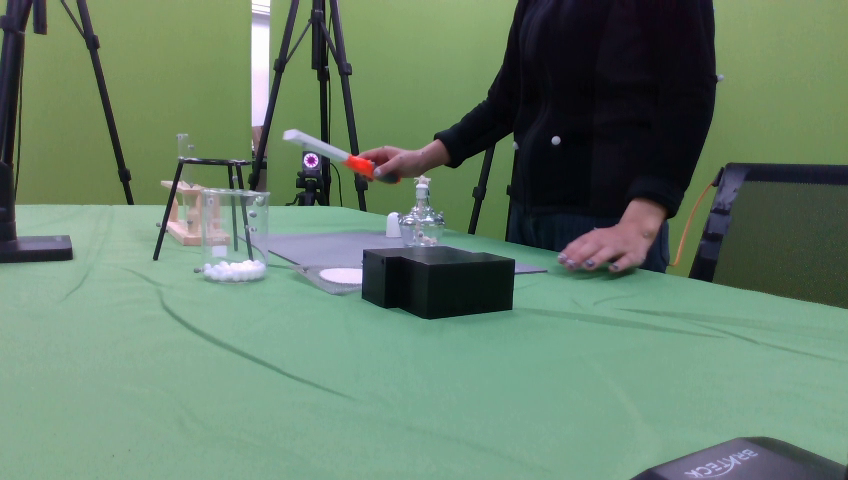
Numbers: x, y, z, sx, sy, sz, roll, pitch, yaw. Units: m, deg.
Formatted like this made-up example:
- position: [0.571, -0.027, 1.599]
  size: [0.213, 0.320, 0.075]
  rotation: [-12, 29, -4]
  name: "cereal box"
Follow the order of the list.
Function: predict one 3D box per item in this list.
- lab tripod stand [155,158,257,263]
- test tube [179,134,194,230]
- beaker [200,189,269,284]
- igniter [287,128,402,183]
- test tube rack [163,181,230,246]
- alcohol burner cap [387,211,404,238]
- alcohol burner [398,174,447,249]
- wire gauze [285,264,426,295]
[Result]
- position: [-0.275, -0.041, 0.797]
  size: [0.148, 0.131, 0.148]
  rotation: [2, 9, 0]
  name: "lab tripod stand"
- position: [-0.366, -0.089, 0.938]
  size: [0.017, 0.150, 0.017]
  rotation: [-1, 9, 1]
  name: "test tube"
- position: [-0.209, -0.006, 0.676]
  size: [0.073, 0.100, 0.084]
  rotation: [7, 8, 28]
  name: "beaker"
- position: [-0.143, -0.158, 1.163]
  size: [0.057, 0.025, 0.278]
  rotation: [1, -12, 40]
  name: "igniter"
- position: [-0.387, -0.050, 1.015]
  size: [0.067, 0.085, 0.241]
  rotation: [-2, 9, -30]
  name: "test tube rack"
- position: [-0.053, -0.029, 1.107]
  size: [0.034, 0.048, 0.034]
  rotation: [1, 8, 0]
  name: "alcohol burner cap"
- position: [-0.002, -0.046, 0.973]
  size: [0.078, 0.119, 0.078]
  rotation: [0, 7, 0]
  name: "alcohol burner"
- position: [-0.079, 0.039, 0.692]
  size: [0.122, 0.011, 0.124]
  rotation: [-4, 11, -37]
  name: "wire gauze"
